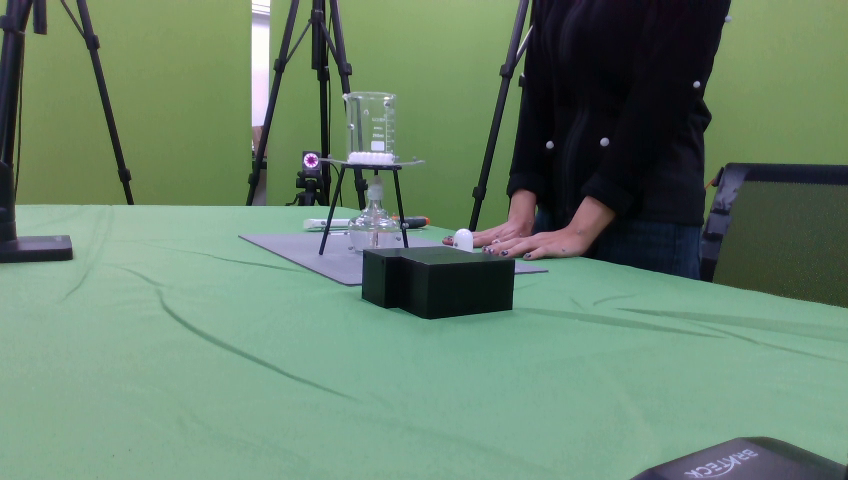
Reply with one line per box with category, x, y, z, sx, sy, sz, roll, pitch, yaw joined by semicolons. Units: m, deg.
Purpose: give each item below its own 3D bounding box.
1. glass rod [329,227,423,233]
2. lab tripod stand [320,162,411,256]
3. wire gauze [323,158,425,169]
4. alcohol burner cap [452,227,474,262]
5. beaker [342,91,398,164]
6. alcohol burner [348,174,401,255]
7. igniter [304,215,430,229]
glass rod;-0.087;-0.019;1.148;0.201;0.008;0.008;-3;8;-32
lab tripod stand;-0.080;-0.047;0.879;0.148;0.131;0.148;2;9;0
wire gauze;-0.080;-0.112;0.869;0.122;0.011;0.124;-6;12;-35
alcohol burner cap;0.057;0.006;0.872;0.034;0.048;0.034;3;7;0
beaker;-0.079;-0.160;0.867;0.084;0.100;0.073;-5;10;-34
alcohol burner;-0.073;-0.037;0.885;0.078;0.119;0.078;2;9;0
igniter;-0.109;-0.037;1.228;0.278;0.025;0.057;-3;-1;-35
